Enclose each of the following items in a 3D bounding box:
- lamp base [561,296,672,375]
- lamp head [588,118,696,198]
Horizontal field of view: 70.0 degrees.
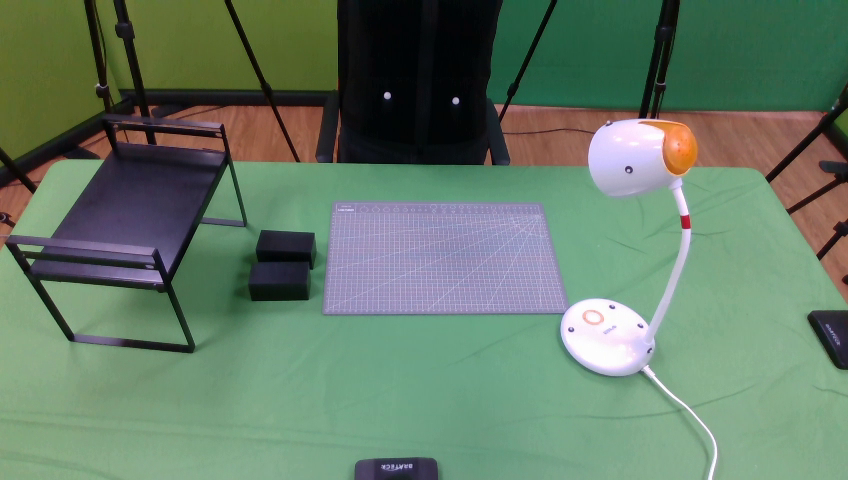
[{"bbox_3d":[0.332,0.119,0.996,0.160,0.181,0.178,-34,59,-30],"label":"lamp base"},{"bbox_3d":[0.304,-0.113,0.823,0.112,0.112,0.122,-26,16,-25],"label":"lamp head"}]
